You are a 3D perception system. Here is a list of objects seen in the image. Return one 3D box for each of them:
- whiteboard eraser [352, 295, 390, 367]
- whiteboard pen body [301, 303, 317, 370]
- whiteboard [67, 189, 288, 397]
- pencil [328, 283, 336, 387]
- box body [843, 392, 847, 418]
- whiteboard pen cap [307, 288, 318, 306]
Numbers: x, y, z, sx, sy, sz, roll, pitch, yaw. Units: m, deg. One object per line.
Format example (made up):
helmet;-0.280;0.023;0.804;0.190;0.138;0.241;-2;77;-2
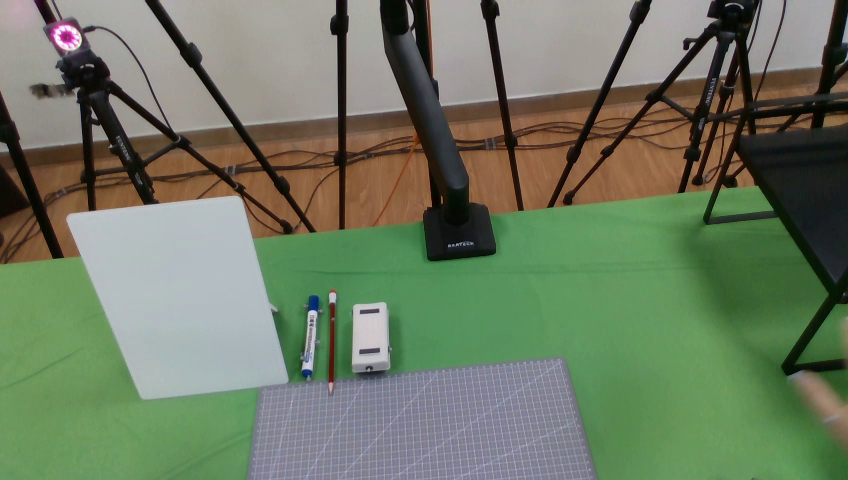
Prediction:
whiteboard eraser;-0.082;0.138;0.915;0.055;0.042;0.111;-7;48;0
whiteboard pen body;-0.177;0.137;0.939;0.017;0.017;0.139;-5;48;1
whiteboard;-0.322;0.052;0.875;0.217;0.308;0.142;-6;29;0
pencil;-0.141;0.142;0.936;0.012;0.012;0.192;-8;48;-2
box body;0.675;0.276;0.645;0.254;0.162;0.360;-6;48;0
whiteboard pen cap;-0.179;0.094;0.977;0.018;0.018;0.033;-7;46;-1
